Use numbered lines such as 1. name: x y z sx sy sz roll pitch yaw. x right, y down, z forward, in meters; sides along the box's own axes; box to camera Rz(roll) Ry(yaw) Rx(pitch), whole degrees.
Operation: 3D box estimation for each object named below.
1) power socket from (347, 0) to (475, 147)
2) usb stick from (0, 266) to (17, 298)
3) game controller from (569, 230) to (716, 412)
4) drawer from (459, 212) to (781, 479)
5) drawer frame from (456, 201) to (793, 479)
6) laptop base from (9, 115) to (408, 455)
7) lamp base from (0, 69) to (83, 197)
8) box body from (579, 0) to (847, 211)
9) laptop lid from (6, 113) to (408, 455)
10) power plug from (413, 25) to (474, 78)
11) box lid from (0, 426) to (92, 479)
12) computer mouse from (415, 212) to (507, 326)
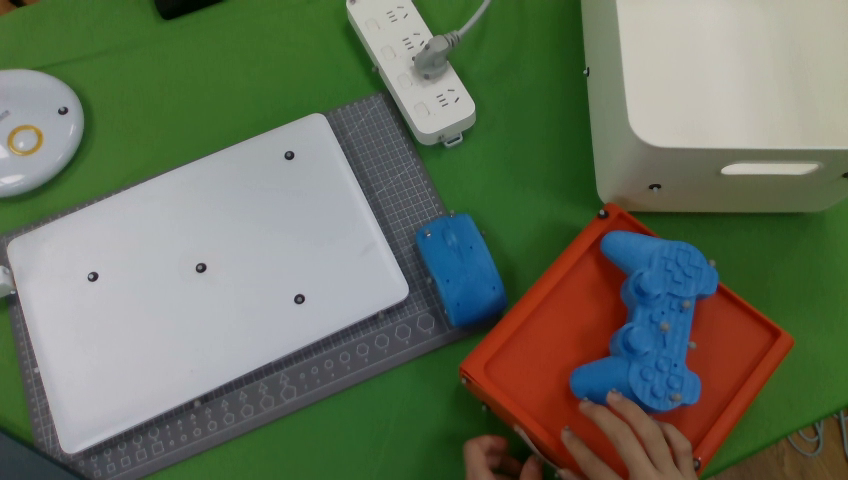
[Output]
1. power socket: -0.017 -0.204 0.691 0.072 0.033 0.225 -25 71 -9
2. usb stick: -0.428 0.044 0.606 0.059 0.027 0.021 -21 66 -8
3. game controller: 0.185 0.066 0.505 0.097 0.052 0.154 17 72 5
4. drawer: 0.170 0.112 0.545 0.193 0.074 0.211 40 75 15
5. drawer frame: 0.171 0.109 0.544 0.200 0.083 0.213 40 76 15
6. laptop base: -0.220 0.031 0.618 0.354 0.023 0.234 -25 75 -7
7. lamp base: -0.477 -0.153 0.607 0.178 0.181 0.160 24 72 13
8. box body: 0.299 -0.214 0.615 0.254 0.161 0.361 0 70 2
9. laptop lid: -0.220 0.029 0.606 0.357 0.013 0.240 -23 73 -7
10. power plug: 0.024 -0.198 0.662 0.072 0.053 0.035 -15 69 -5
11. box lid: -0.381 0.322 0.521 0.370 0.015 0.262 24 73 10
12. computer mouse: 0.035 0.026 0.600 0.063 0.041 0.116 -20 67 -4
